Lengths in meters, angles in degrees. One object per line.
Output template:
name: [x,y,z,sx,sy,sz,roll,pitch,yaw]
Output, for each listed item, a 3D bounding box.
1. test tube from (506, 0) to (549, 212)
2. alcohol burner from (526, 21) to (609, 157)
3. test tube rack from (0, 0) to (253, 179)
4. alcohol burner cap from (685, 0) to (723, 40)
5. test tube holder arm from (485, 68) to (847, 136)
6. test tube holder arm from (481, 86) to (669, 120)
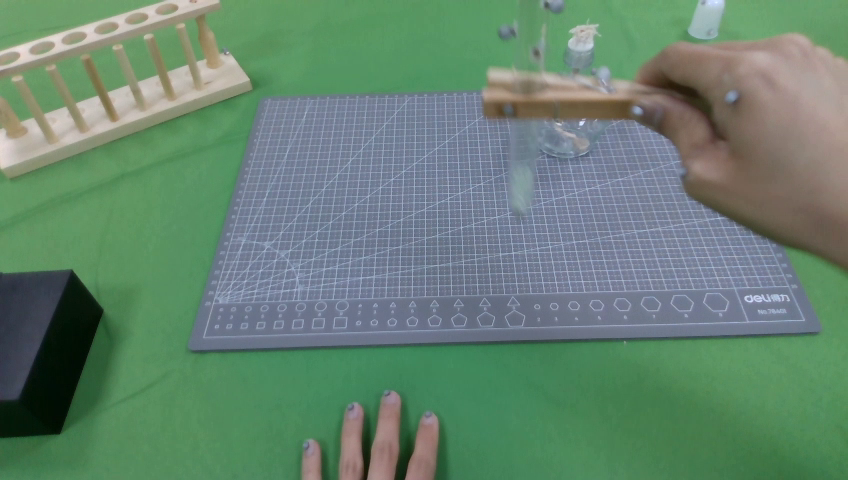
test tube: [0.052,-0.064,0.313,0.017,0.151,0.017,-3,55,4]
alcohol burner: [0.128,-0.132,0.524,0.078,0.120,0.077,-1,48,2]
test tube rack: [-0.302,-0.155,0.588,0.242,0.086,0.066,-26,53,-18]
alcohol burner cap: [0.310,-0.248,0.664,0.034,0.048,0.033,-3,50,4]
test tube holder arm: [0.116,-0.066,0.287,0.178,0.015,0.013,9,60,14]
test tube holder arm: [0.072,-0.066,0.294,0.087,0.015,0.010,3,59,10]
